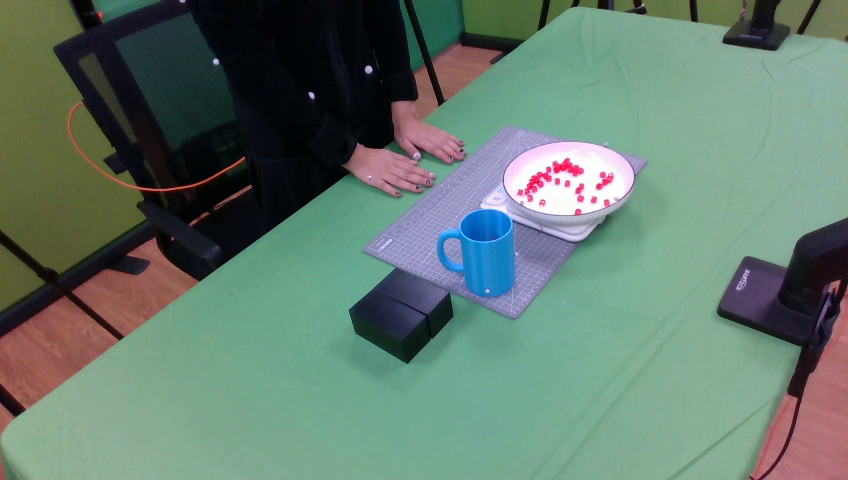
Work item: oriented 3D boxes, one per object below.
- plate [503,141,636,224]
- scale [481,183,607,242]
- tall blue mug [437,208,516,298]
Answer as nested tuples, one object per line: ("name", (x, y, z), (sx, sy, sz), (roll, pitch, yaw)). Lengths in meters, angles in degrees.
("plate", (0.233, -0.091, 0.983), (0.209, 0.038, 0.208), (-5, 41, 5))
("scale", (0.211, -0.070, 1.014), (0.199, 0.032, 0.149), (23, 49, 33))
("tall blue mug", (0.078, 0.023, 0.869), (0.107, 0.108, 0.077), (-14, 41, -6))
